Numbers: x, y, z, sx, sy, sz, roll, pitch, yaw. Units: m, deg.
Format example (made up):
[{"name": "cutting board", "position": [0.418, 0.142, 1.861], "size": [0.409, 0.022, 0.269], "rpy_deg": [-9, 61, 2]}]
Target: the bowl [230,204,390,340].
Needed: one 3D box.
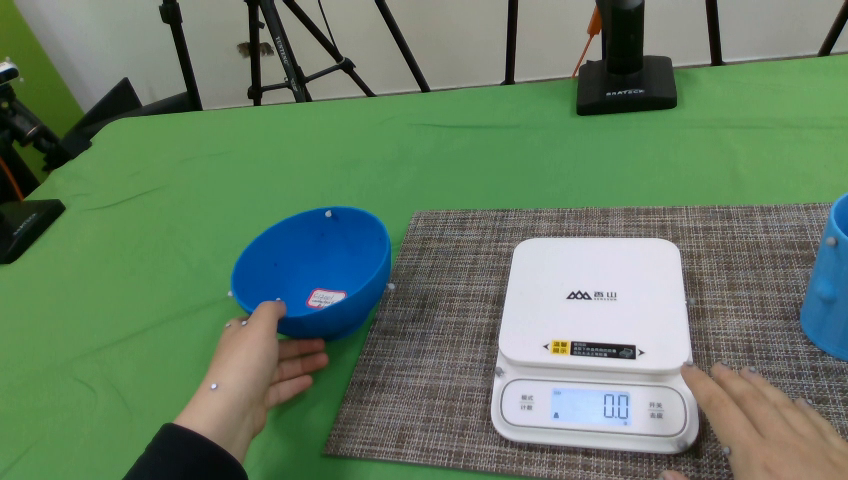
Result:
[{"name": "bowl", "position": [-0.098, 0.042, 0.579], "size": [0.151, 0.077, 0.150], "rpy_deg": [-8, 40, 7]}]

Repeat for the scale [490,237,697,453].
[{"name": "scale", "position": [0.137, 0.074, 0.499], "size": [0.148, 0.032, 0.199], "rpy_deg": [-1, 43, 17]}]

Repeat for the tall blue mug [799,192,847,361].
[{"name": "tall blue mug", "position": [0.331, 0.033, 0.422], "size": [0.078, 0.109, 0.106], "rpy_deg": [-34, 43, -21]}]
